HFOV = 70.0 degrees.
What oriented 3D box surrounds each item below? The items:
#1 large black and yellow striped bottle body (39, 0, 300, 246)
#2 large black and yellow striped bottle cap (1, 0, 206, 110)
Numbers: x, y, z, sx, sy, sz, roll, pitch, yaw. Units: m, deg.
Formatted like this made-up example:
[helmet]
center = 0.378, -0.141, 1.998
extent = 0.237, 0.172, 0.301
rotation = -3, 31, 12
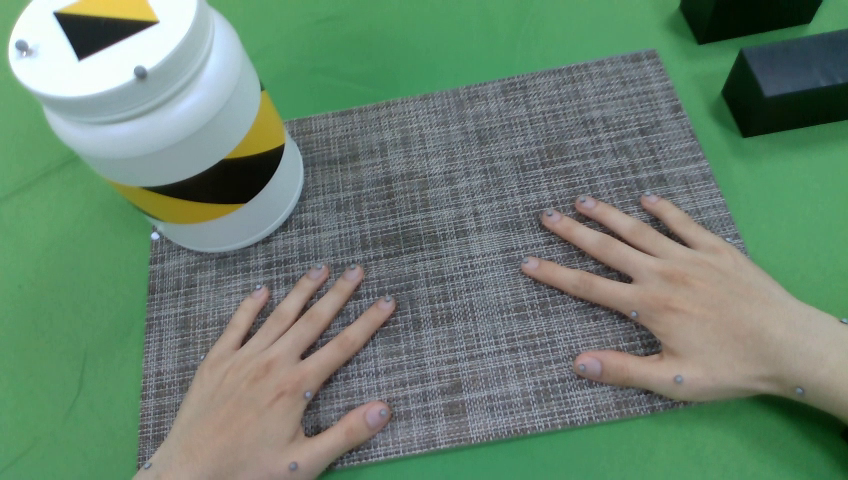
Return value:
[large black and yellow striped bottle body]
center = -0.176, -0.090, 0.429
extent = 0.130, 0.185, 0.129
rotation = -3, 64, 6
[large black and yellow striped bottle cap]
center = -0.187, -0.126, 0.354
extent = 0.115, 0.019, 0.114
rotation = -2, 63, 5
